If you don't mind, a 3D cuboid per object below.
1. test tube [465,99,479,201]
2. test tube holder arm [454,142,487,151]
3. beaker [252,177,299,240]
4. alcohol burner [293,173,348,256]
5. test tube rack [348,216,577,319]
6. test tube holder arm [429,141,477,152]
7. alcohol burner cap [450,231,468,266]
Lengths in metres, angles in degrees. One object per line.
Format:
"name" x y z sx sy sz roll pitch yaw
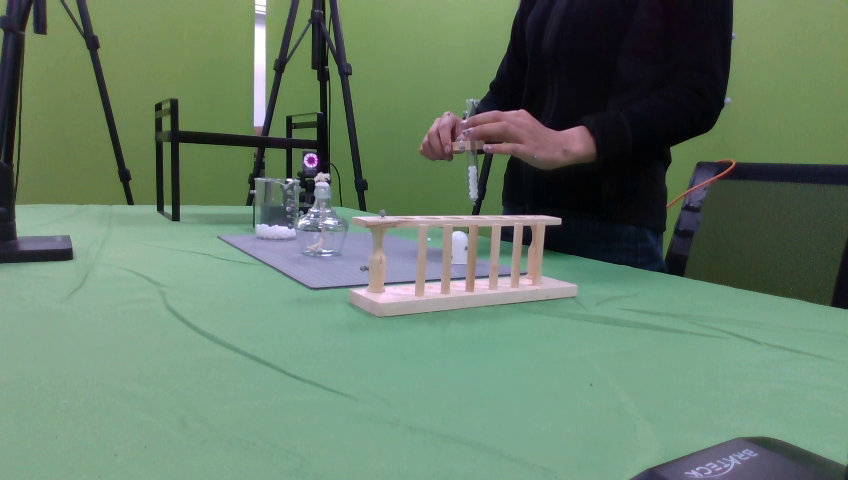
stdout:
"test tube" 0.071 -0.133 0.895 0.017 0.150 0.017 -2 5 1
"test tube holder arm" 0.066 -0.142 0.918 0.010 0.015 0.087 2 7 -31
"beaker" -0.245 -0.052 1.005 0.074 0.100 0.083 -2 10 -32
"alcohol burner" -0.147 -0.036 0.859 0.078 0.119 0.078 4 8 0
"test tube rack" 0.048 0.021 0.619 0.244 0.085 0.066 -2 9 -31
"test tube holder arm" 0.043 -0.148 0.956 0.013 0.015 0.177 3 6 -22
"alcohol burner cap" 0.046 0.011 0.838 0.034 0.048 0.034 2 6 0
